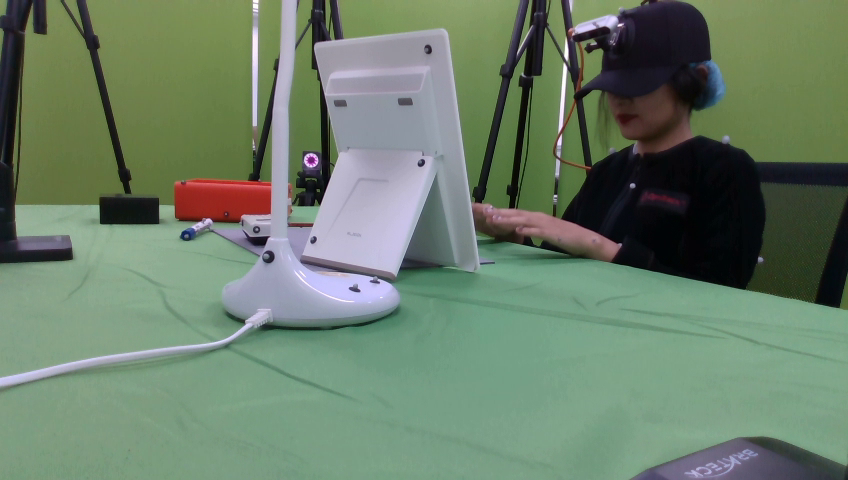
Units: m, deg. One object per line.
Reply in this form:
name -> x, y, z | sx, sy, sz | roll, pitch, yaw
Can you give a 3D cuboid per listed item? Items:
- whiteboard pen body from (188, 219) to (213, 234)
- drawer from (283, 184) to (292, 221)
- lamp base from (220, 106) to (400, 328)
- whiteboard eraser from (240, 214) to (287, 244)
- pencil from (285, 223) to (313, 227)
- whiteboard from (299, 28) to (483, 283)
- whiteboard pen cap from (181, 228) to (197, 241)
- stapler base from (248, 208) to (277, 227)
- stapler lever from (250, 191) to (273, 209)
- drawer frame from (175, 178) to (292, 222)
whiteboard pen body -> -0.382, -0.020, 1.026 | 0.017, 0.017, 0.140 | 2, 9, -6
drawer -> -0.397, -0.086, 1.314 | 0.212, 0.073, 0.194 | 1, 8, -9
lamp base -> -0.101, -0.023, 0.531 | 0.160, 0.180, 0.179 | 4, 10, 10
whiteboard eraser -> -0.256, -0.018, 0.958 | 0.056, 0.042, 0.112 | 0, 8, -25
pencil -> -0.234, -0.030, 1.198 | 0.195, 0.012, 0.012 | 0, 8, -20
whiteboard -> -0.075, -0.082, 0.741 | 0.216, 0.305, 0.144 | 9, 30, 38
whiteboard pen cap -> -0.375, -0.010, 0.968 | 0.018, 0.018, 0.033 | 2, 10, -6
stapler base -> -0.350, -0.053, 1.310 | 0.041, 0.024, 0.130 | 1, 13, -4
stapler lever -> -0.350, -0.086, 1.305 | 0.027, 0.040, 0.118 | 1, 5, -4
drawer frame -> -0.402, -0.087, 1.311 | 0.214, 0.082, 0.201 | 1, 8, -9
